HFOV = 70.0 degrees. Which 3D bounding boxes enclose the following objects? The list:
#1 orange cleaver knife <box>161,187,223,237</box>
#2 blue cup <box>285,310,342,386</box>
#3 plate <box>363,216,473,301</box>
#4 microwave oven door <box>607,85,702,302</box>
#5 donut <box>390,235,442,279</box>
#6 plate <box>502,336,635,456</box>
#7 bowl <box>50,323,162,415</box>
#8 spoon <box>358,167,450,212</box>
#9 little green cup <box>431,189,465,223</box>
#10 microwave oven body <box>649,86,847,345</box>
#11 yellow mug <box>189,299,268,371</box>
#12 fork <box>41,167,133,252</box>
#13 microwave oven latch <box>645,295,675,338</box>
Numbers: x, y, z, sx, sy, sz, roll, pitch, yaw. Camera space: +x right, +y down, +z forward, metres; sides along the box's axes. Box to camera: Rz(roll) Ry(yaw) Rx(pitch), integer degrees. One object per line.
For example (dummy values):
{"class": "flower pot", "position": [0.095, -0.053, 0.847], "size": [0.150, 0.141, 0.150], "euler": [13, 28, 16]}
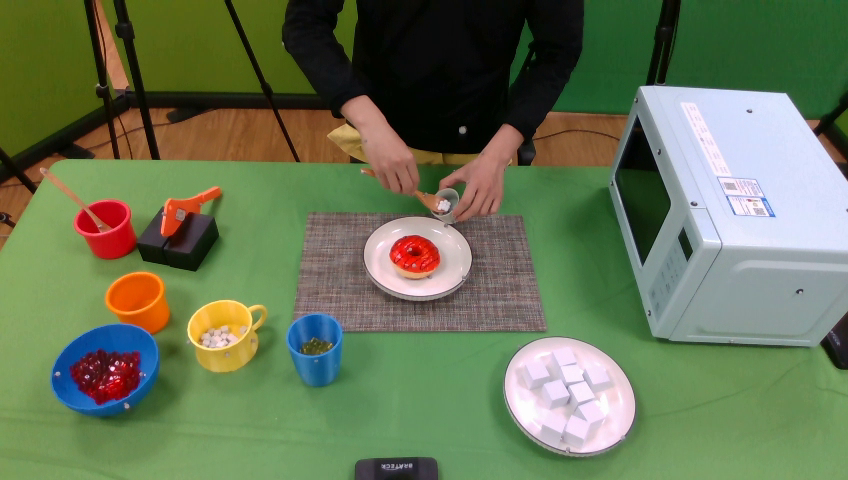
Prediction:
{"class": "orange cleaver knife", "position": [-0.448, -0.058, 1.181], "size": [0.012, 0.077, 0.211], "euler": [13, 17, 6]}
{"class": "blue cup", "position": [-0.170, 0.179, 0.958], "size": [0.093, 0.101, 0.092], "euler": [2, 44, -1]}
{"class": "plate", "position": [-0.012, 0.038, 1.145], "size": [0.209, 0.038, 0.208], "euler": [2, 45, -2]}
{"class": "microwave oven door", "position": [0.423, -0.094, 1.141], "size": [0.039, 0.245, 0.353], "euler": [2, 46, -1]}
{"class": "donut", "position": [-0.016, 0.032, 1.135], "size": [0.099, 0.048, 0.098], "euler": [3, 44, -3]}
{"class": "plate", "position": [0.225, 0.248, 0.963], "size": [0.208, 0.039, 0.206], "euler": [2, 46, -2]}
{"class": "bowl", "position": [-0.472, 0.209, 0.924], "size": [0.151, 0.077, 0.150], "euler": [3, 45, -2]}
{"class": "spoon", "position": [-0.033, -0.094, 1.095], "size": [0.195, 0.021, 0.041], "euler": [25, 45, -30]}
{"class": "little green cup", "position": [0.046, -0.062, 1.140], "size": [0.061, 0.039, 0.061], "euler": [-10, 65, 23]}
{"class": "microwave oven body", "position": [0.568, -0.053, 1.118], "size": [0.326, 0.261, 0.439], "euler": [2, 45, -1]}
{"class": "yellow mug", "position": [-0.316, 0.148, 1.002], "size": [0.131, 0.064, 0.099], "euler": [-32, 56, -31]}
{"class": "fork", "position": [-0.624, -0.056, 1.121], "size": [0.208, 0.018, 0.028], "euler": [49, 51, -15]}
{"class": "microwave oven latch", "position": [0.412, 0.134, 1.061], "size": [0.030, 0.029, 0.078], "euler": [3, 45, 0]}
